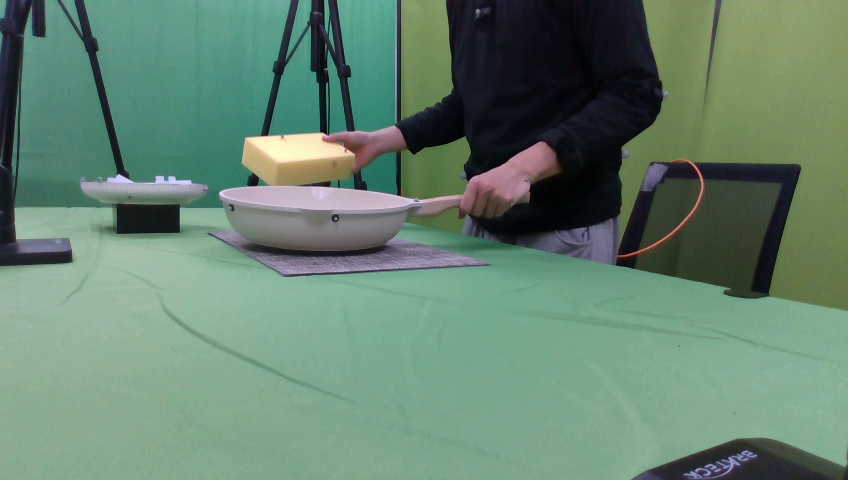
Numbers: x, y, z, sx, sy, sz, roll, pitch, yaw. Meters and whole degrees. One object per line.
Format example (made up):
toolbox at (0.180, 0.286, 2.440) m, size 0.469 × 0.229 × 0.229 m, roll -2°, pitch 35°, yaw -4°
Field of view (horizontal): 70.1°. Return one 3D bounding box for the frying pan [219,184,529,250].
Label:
frying pan at (-0.066, -0.053, 0.966) m, size 0.489 × 0.102 × 0.306 m, roll -6°, pitch 13°, yaw -7°

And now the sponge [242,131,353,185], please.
sponge at (-0.269, -0.178, 1.301) m, size 0.117 × 0.061 × 0.208 m, roll 35°, pitch 31°, yaw 29°

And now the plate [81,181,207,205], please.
plate at (-0.505, -0.086, 1.100) m, size 0.208 × 0.039 × 0.207 m, roll 1°, pitch 6°, yaw 0°
